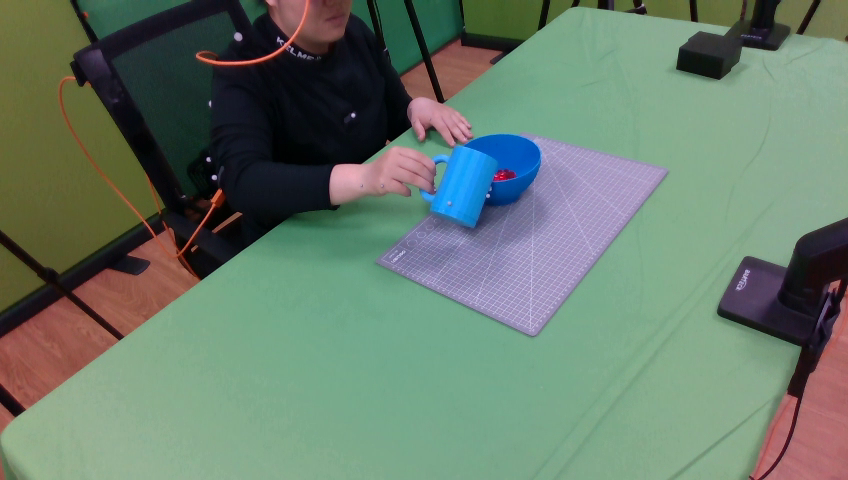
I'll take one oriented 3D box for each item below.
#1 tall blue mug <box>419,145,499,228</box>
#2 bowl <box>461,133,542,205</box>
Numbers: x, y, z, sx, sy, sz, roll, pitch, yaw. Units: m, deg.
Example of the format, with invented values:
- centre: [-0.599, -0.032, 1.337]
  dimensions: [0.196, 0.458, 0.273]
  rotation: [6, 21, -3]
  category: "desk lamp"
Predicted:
- centre: [0.048, -0.088, 0.940]
  dimensions: [0.107, 0.077, 0.108]
  rotation: [21, 89, -3]
  category: "tall blue mug"
- centre: [0.129, -0.113, 1.045]
  dimensions: [0.151, 0.077, 0.150]
  rotation: [-5, 40, 5]
  category: "bowl"
